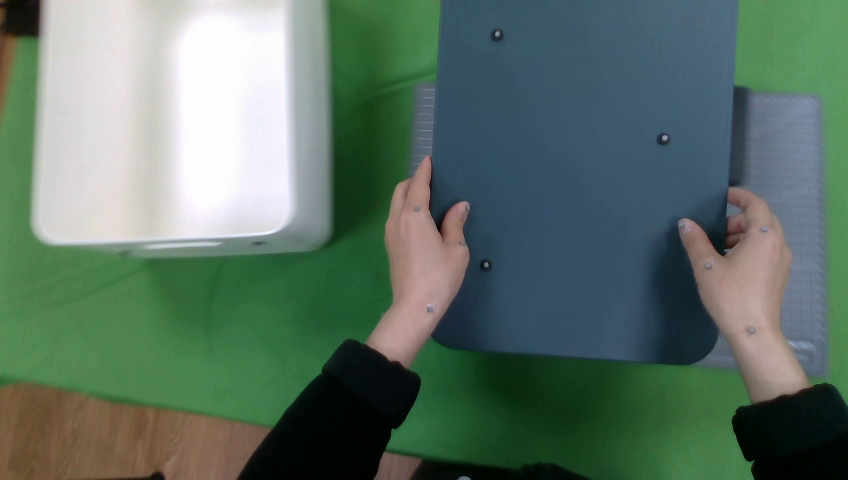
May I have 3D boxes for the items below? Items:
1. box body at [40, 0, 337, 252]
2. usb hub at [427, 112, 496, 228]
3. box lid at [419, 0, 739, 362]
[{"bbox_3d":[-0.233,-0.169,0.662,0.254,0.161,0.362,-2,81,6],"label":"box body"},{"bbox_3d":[0.043,-0.079,0.683,0.049,0.025,0.125,15,84,8],"label":"usb hub"},{"bbox_3d":[0.135,-0.079,0.538,0.263,0.015,0.371,4,92,2],"label":"box lid"}]
